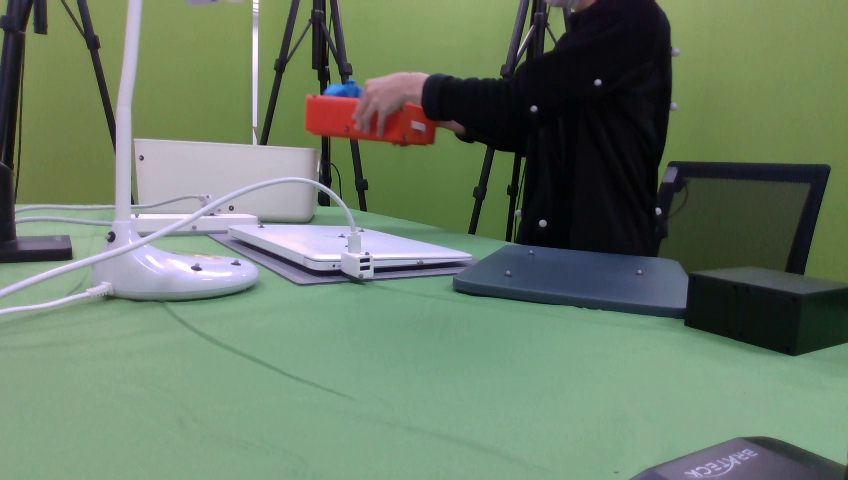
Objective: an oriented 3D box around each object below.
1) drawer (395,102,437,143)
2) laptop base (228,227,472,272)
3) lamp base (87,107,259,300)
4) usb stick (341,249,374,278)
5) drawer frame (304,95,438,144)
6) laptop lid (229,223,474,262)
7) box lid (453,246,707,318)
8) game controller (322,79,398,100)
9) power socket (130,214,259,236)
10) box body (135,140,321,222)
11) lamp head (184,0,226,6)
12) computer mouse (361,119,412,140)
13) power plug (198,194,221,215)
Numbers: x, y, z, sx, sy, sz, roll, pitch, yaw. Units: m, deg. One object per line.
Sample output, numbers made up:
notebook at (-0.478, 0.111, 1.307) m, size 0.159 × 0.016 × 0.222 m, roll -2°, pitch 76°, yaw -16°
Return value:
drawer at (-0.104, -0.251, 1.272) m, size 0.211 × 0.073 × 0.195 m, roll 8°, pitch 10°, yaw 21°
laptop base at (-0.124, 0.011, 0.889) m, size 0.237 × 0.023 × 0.352 m, roll 2°, pitch 6°, yaw -35°
lamp base at (-0.254, -0.039, 0.603) m, size 0.160 × 0.180 × 0.179 m, roll 5°, pitch 10°, yaw 18°
usb stick at (-0.079, 0.026, 0.686) m, size 0.021 × 0.027 × 0.059 m, roll -7°, pitch 9°, yaw -30°
drawer frame at (-0.106, -0.252, 1.270) m, size 0.213 × 0.082 × 0.202 m, roll 8°, pitch 10°, yaw 21°
laptop lid at (-0.121, 0.000, 0.888) m, size 0.243 × 0.013 × 0.355 m, roll 1°, pitch 7°, yaw -33°
box lid at (0.204, 0.044, 0.780) m, size 0.262 × 0.015 × 0.372 m, roll 5°, pitch 7°, yaw 17°
game controller at (-0.130, -0.306, 1.268) m, size 0.155 × 0.051 × 0.097 m, roll 5°, pitch 5°, yaw -3°
power socket at (-0.397, -0.028, 1.048) m, size 0.228 × 0.032 × 0.072 m, roll -3°, pitch 7°, yaw -35°
box body at (-0.420, -0.133, 1.354) m, size 0.365 × 0.160 × 0.253 m, roll 2°, pitch 7°, yaw -8°
lamp head at (-0.229, -0.320, 0.627) m, size 0.112 × 0.112 × 0.123 m, roll 6°, pitch -35°, yaw 26°
computer mouse at (-0.077, -0.231, 1.257) m, size 0.062 × 0.041 × 0.118 m, roll 13°, pitch 15°, yaw 29°
power plug at (-0.386, -0.055, 1.088) m, size 0.035 × 0.052 × 0.072 m, roll -2°, pitch 7°, yaw -24°
